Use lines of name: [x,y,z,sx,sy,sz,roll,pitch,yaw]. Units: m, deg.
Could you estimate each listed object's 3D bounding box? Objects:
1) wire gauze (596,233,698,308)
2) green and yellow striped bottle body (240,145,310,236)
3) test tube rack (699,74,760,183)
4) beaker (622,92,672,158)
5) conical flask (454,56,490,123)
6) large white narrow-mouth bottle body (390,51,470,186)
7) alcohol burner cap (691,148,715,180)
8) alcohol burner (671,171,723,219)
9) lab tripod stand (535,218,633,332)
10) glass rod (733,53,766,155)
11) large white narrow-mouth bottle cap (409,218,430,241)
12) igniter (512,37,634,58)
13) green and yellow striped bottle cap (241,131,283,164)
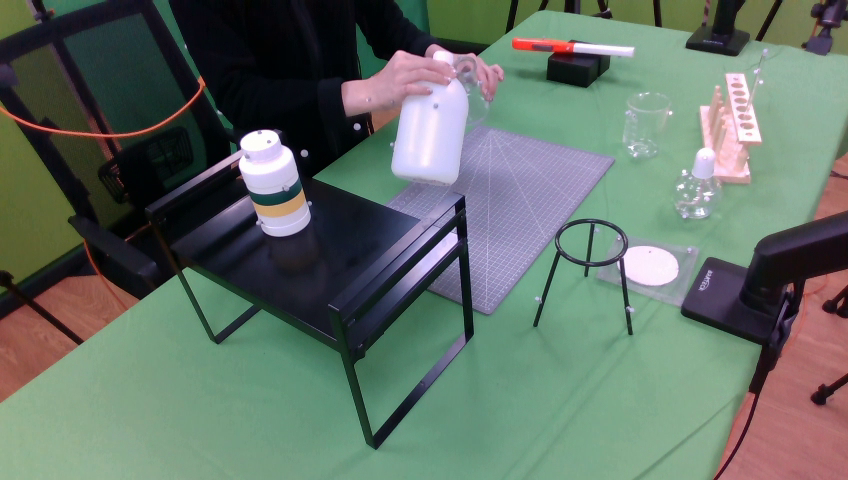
wire gauze: [0.331,0.038,0.897,0.124,0.011,0.121,18,47,26]
green and yellow striped bottle body: [-0.181,-0.068,0.729,0.063,0.120,0.063,-4,40,4]
test tube rack: [0.547,-0.208,1.095,0.066,0.085,0.242,6,42,16]
beaker: [0.402,-0.210,1.106,0.074,0.101,0.083,-8,40,-2]
conical flask: [0.073,-0.260,1.029,0.075,0.122,0.075,-3,68,7]
large white narrow-mouth bottle body: [0.015,-0.185,0.904,0.102,0.194,0.102,11,-2,1]
alcohol burner cap: [0.432,-0.120,0.930,0.034,0.048,0.033,-7,48,8]
alcohol burner: [0.434,-0.093,0.955,0.078,0.119,0.077,-3,43,4]
lab tripod stand: [0.215,0.050,0.803,0.148,0.132,0.147,-4,42,4]
glass rod: [0.540,-0.220,1.007,0.008,0.201,0.008,-5,46,6]
large white narrow-mouth bottle cap: [-0.008,-0.017,0.999,0.038,0.024,0.037,-3,39,3]
igniter: [0.328,-0.433,1.360,0.275,0.025,0.057,12,33,20]
green and yellow striped bottle cap: [-0.187,-0.107,0.695,0.045,0.020,0.045,-3,39,3]
